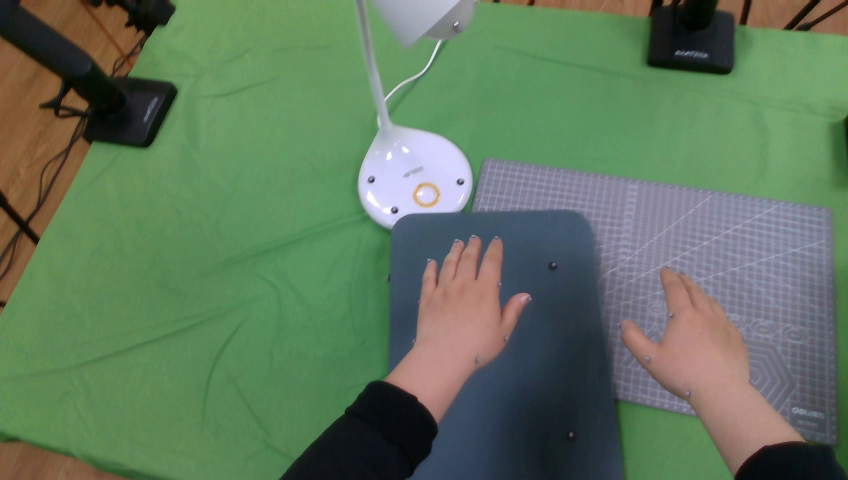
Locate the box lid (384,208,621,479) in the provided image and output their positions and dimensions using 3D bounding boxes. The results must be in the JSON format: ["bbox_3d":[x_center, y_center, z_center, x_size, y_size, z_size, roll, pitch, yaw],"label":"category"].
[{"bbox_3d":[0.086,0.129,0.729,0.263,0.015,0.368,-2,68,4],"label":"box lid"}]

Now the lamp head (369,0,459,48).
[{"bbox_3d":[-0.016,-0.239,0.498,0.123,0.112,0.112,44,74,-12],"label":"lamp head"}]

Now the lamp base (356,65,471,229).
[{"bbox_3d":[-0.031,-0.124,0.775,0.160,0.182,0.177,-36,63,-10],"label":"lamp base"}]
